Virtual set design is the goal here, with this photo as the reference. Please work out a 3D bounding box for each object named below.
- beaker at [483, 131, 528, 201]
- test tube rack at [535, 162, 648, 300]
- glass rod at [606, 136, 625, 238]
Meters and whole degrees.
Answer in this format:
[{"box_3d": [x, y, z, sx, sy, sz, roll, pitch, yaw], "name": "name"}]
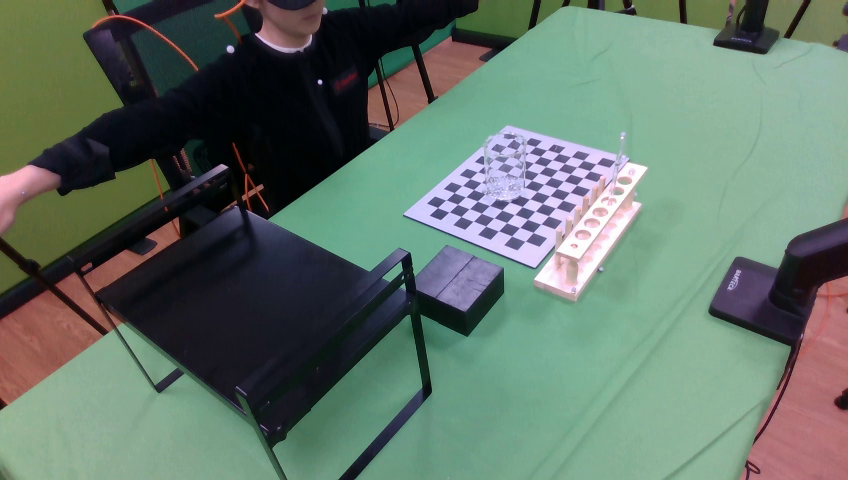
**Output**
[{"box_3d": [0.143, -0.126, 1.036, 0.073, 0.101, 0.084, 24, 49, 31], "name": "beaker"}, {"box_3d": [0.257, -0.024, 0.916, 0.066, 0.085, 0.243, 22, 49, 30], "name": "test tube rack"}, {"box_3d": [0.273, -0.069, 0.864, 0.008, 0.201, 0.008, -5, 48, 6], "name": "glass rod"}]
